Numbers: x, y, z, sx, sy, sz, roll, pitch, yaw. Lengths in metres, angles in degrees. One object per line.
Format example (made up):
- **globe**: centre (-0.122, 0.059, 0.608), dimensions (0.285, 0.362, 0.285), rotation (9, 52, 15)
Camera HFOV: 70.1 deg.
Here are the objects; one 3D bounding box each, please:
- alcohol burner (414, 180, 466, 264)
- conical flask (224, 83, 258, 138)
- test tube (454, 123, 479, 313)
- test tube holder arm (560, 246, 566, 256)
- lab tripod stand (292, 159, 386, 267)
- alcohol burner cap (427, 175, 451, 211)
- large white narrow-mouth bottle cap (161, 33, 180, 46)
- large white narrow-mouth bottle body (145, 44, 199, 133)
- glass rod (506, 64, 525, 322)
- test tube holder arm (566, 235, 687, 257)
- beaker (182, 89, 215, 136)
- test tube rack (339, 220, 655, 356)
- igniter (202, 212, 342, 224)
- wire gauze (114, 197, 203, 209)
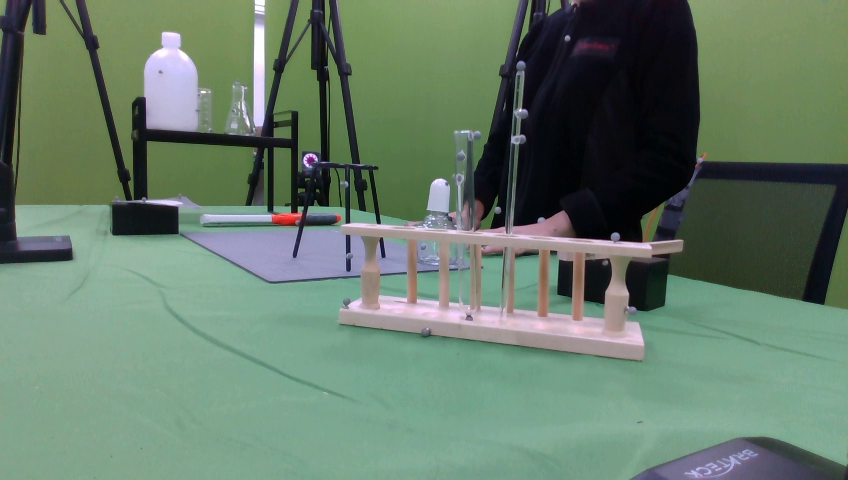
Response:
- **alcohol burner**: centre (0.021, -0.028, 0.826), dimensions (0.078, 0.119, 0.078), rotation (0, 6, 0)
- **conical flask**: centre (-0.422, -0.299, 1.395), dimensions (0.075, 0.122, 0.075), rotation (2, 7, 0)
- **test tube**: centre (0.034, -0.016, 0.477), dimensions (0.017, 0.150, 0.017), rotation (-2, 9, 1)
- **test tube holder arm**: centre (0.173, 0.007, 0.611), dimensions (0.088, 0.015, 0.010), rotation (-3, 10, -30)
- **lab tripod stand**: centre (-0.105, -0.039, 0.798), dimensions (0.148, 0.131, 0.148), rotation (2, 5, 0)
- **alcohol burner cap**: centre (0.023, -0.064, 0.822), dimensions (0.034, 0.048, 0.034), rotation (7, 5, 0)
- **large white narrow-mouth bottle cap**: centre (-0.511, -0.402, 1.220), dimensions (0.038, 0.024, 0.037), rotation (2, 7, 0)
- **large white narrow-mouth bottle body**: centre (-0.513, -0.318, 1.231), dimensions (0.102, 0.194, 0.102), rotation (2, 7, 0)
- **glass rod**: centre (0.069, -0.030, 0.458), dimensions (0.008, 0.199, 0.008), rotation (0, 15, 0)
- **test tube holder arm**: centre (0.215, 0.006, 0.630), dimensions (0.179, 0.015, 0.013), rotation (-3, 10, -30)
- **beaker**: centre (-0.511, -0.285, 1.353), dimensions (0.084, 0.100, 0.073), rotation (-2, 8, -25)
- **test tube rack**: centre (0.056, 0.032, 0.495), dimensions (0.242, 0.085, 0.067), rotation (4, 7, 15)
- **igniter**: centre (-0.298, -0.044, 1.216), dimensions (0.278, 0.025, 0.057), rotation (-2, -2, -33)
- **wire gauze**: centre (-0.447, -0.062, 1.015), dimensions (0.126, 0.011, 0.121), rotation (-2, 8, -31)
